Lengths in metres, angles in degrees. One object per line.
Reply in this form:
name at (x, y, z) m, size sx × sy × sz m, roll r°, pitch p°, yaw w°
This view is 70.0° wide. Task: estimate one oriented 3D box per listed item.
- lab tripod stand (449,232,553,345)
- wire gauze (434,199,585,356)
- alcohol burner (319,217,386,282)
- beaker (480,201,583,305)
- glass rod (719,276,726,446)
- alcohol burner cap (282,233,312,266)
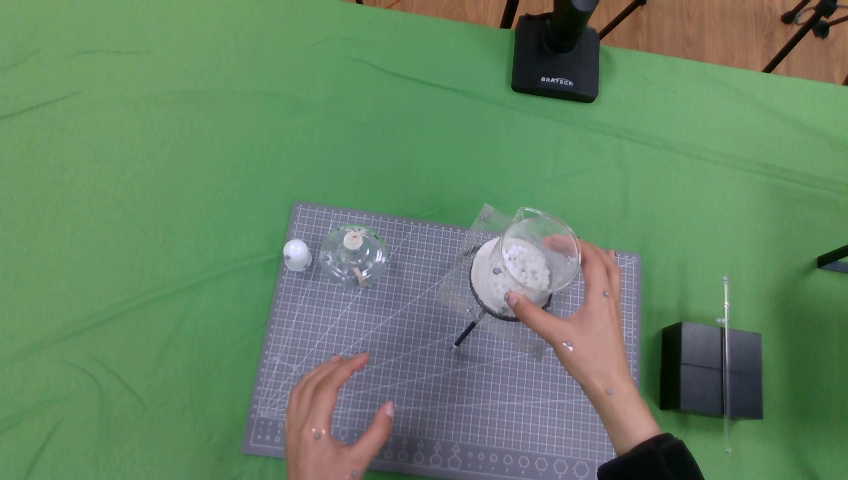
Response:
lab tripod stand at (0.086, 0.053, 0.681) m, size 0.149 × 0.132 × 0.147 m, roll 2°, pitch 71°, yaw -7°
wire gauze at (0.089, 0.035, 0.618) m, size 0.125 × 0.011 × 0.121 m, roll 31°, pitch 73°, yaw 0°
alcohol burner at (-0.080, 0.006, 0.685) m, size 0.078 × 0.119 × 0.077 m, roll 2°, pitch 72°, yaw -7°
beaker at (0.095, 0.017, 0.572) m, size 0.074 × 0.100 × 0.083 m, roll -14°, pitch 75°, yaw -11°
glass rod at (0.347, 0.137, 0.705) m, size 0.008 × 0.008 × 0.198 m, roll 10°, pitch 73°, yaw -3°
alcohol burner cap at (-0.151, 0.010, 0.713) m, size 0.034 × 0.048 × 0.033 m, roll 2°, pitch 72°, yaw -5°
